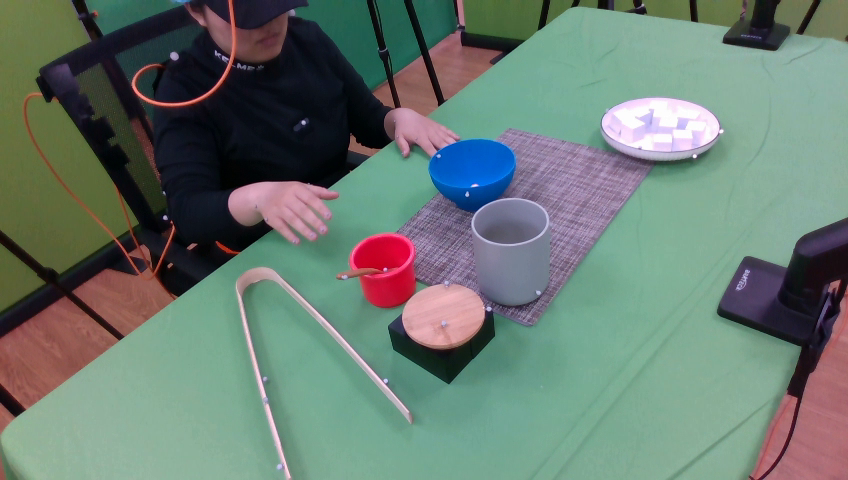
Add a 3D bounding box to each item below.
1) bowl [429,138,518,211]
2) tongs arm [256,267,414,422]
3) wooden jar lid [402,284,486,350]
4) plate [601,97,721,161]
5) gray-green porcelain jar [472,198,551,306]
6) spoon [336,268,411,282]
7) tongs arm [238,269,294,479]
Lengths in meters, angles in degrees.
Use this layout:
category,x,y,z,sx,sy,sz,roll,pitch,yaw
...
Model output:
category,x,y,z,sx,sy,sz,roll,pitch,yaw
bowl,0.087,-0.104,1.043,0.151,0.077,0.150,-5,40,5
tongs arm,-0.137,0.132,0.853,0.028,0.028,0.384,-34,45,-23
wooden jar lid,0.026,0.101,0.786,0.108,0.021,0.108,-5,39,4
plate,0.436,-0.203,1.126,0.209,0.038,0.208,-5,39,4
gray-green porcelain jar,0.125,0.021,0.850,0.106,0.127,0.105,-6,40,5
spoon,-0.071,0.047,0.850,0.041,0.195,0.021,18,93,24
tongs arm,-0.208,0.163,0.824,0.051,0.026,0.381,-22,40,-15
